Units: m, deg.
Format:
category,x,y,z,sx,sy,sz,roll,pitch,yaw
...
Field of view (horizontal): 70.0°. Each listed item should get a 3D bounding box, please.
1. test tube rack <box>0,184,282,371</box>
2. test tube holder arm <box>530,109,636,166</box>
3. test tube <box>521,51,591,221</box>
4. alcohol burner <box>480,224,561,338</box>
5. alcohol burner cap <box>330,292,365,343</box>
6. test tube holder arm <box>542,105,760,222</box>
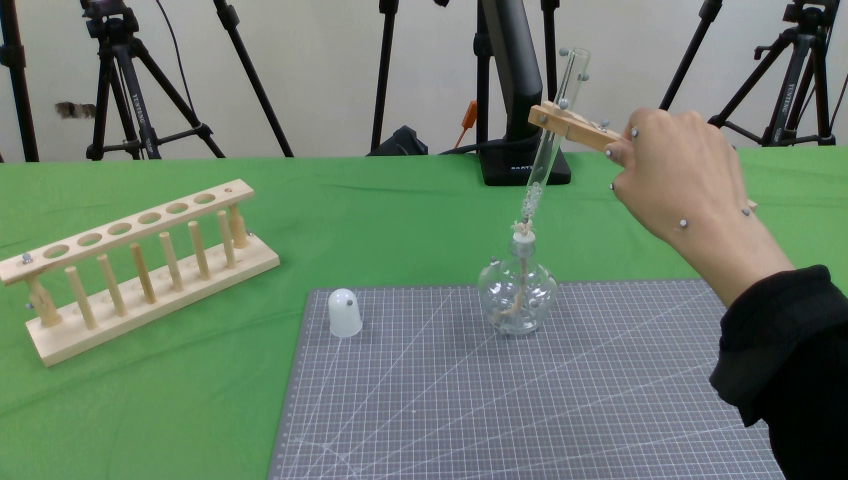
category,x,y,z,sx,sy,sz,roll,pitch,yaw
test tube rack,-0.275,0.029,0.621,0.243,0.086,0.066,-26,41,-32
test tube holder arm,0.120,-0.079,0.460,0.087,0.015,0.010,29,44,28
test tube,0.103,-0.077,0.486,0.017,0.151,0.017,7,38,-5
alcohol burner,0.092,0.034,0.574,0.078,0.120,0.077,0,36,0
alcohol burner cap,-0.075,0.072,0.587,0.034,0.048,0.033,0,35,1
test tube holder arm,0.156,-0.060,0.440,0.013,0.015,0.176,-29,49,-35
